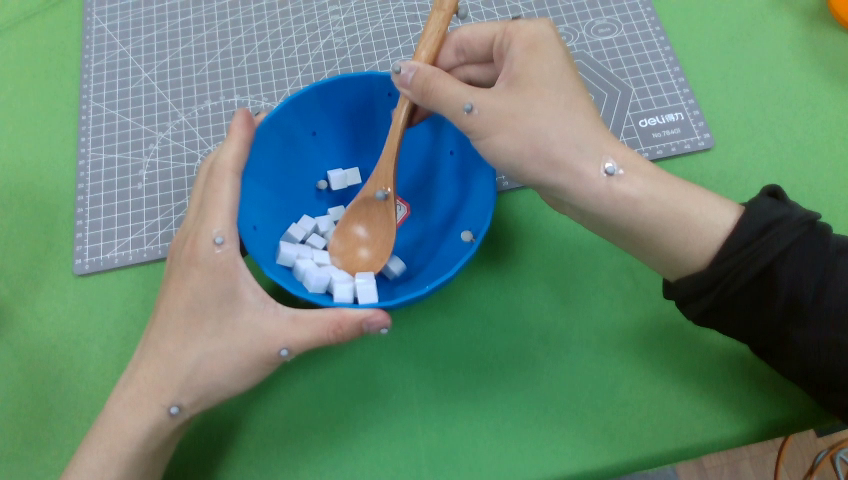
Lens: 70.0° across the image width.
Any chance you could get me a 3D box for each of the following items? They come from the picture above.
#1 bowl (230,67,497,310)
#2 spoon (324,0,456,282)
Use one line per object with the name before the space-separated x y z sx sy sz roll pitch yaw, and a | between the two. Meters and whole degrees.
bowl | -0.032 -0.021 0.376 0.151 0.077 0.150 -1 70 2
spoon | -0.013 -0.066 0.339 0.041 0.022 0.194 27 105 24
